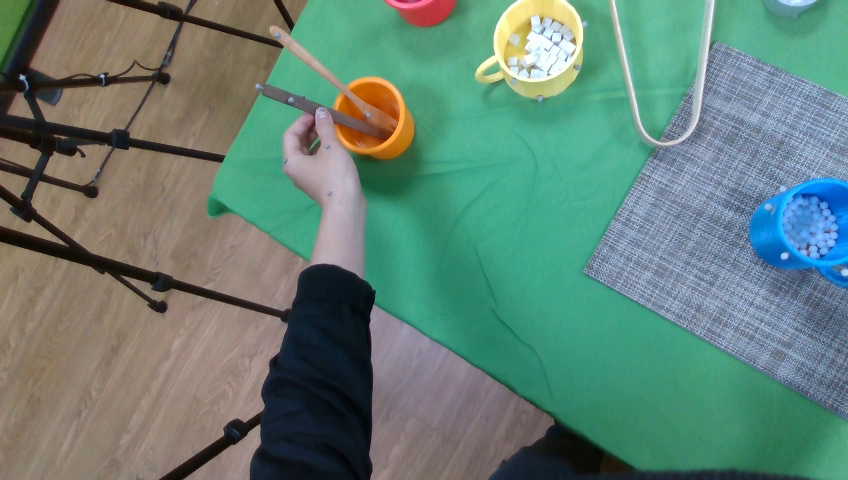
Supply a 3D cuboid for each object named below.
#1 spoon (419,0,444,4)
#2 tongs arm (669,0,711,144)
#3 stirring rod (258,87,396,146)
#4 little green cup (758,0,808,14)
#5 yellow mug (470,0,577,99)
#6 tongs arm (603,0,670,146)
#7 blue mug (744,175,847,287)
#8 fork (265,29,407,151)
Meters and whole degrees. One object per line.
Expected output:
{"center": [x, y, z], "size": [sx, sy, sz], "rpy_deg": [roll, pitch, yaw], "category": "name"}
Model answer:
{"center": [-0.056, -0.319, 0.717], "size": [0.195, 0.021, 0.041], "rpy_deg": [5, 86, -30], "category": "spoon"}
{"center": [0.303, -0.300, 0.667], "size": [0.028, 0.028, 0.388], "rpy_deg": [5, 95, 6], "category": "tongs arm"}
{"center": [-0.109, -0.143, 0.711], "size": [0.006, 0.177, 0.014], "rpy_deg": [-14, 66, 55], "category": "stirring rod"}
{"center": [0.395, -0.279, 0.660], "size": [0.061, 0.039, 0.061], "rpy_deg": [-1, 88, 14], "category": "little green cup"}
{"center": [0.114, -0.217, 0.711], "size": [0.131, 0.064, 0.099], "rpy_deg": [-23, 82, 13], "category": "yellow mug"}
{"center": [0.221, -0.294, 0.683], "size": [0.050, 0.026, 0.384], "rpy_deg": [-9, 92, 10], "category": "tongs arm"}
{"center": [0.390, -0.002, 0.608], "size": [0.082, 0.106, 0.116], "rpy_deg": [-36, 80, 9], "category": "blue mug"}
{"center": [-0.100, -0.175, 0.716], "size": [0.209, 0.018, 0.028], "rpy_deg": [37, 96, -31], "category": "fork"}
